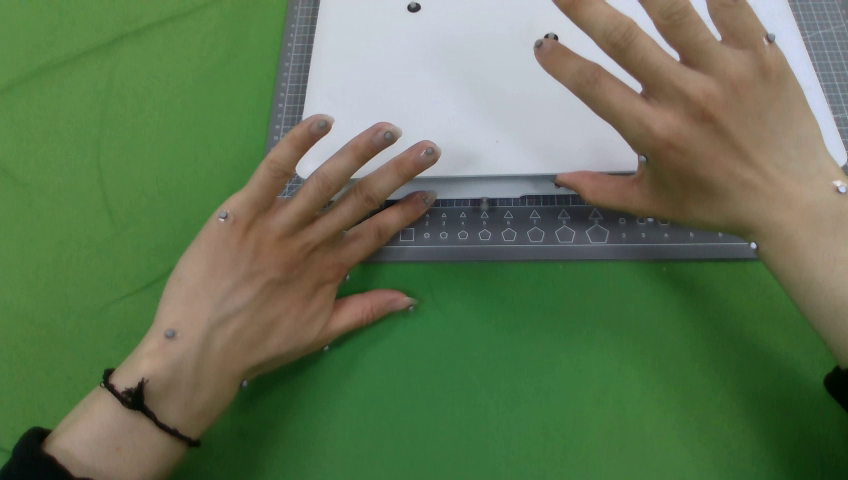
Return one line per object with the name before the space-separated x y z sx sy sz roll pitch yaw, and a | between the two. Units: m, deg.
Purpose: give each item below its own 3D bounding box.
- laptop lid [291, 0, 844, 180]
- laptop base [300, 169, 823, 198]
laptop lid | 0.089 -0.143 0.437 0.356 0.013 0.239 1 61 4
laptop base | 0.091 -0.135 0.459 0.354 0.023 0.234 -1 68 3
